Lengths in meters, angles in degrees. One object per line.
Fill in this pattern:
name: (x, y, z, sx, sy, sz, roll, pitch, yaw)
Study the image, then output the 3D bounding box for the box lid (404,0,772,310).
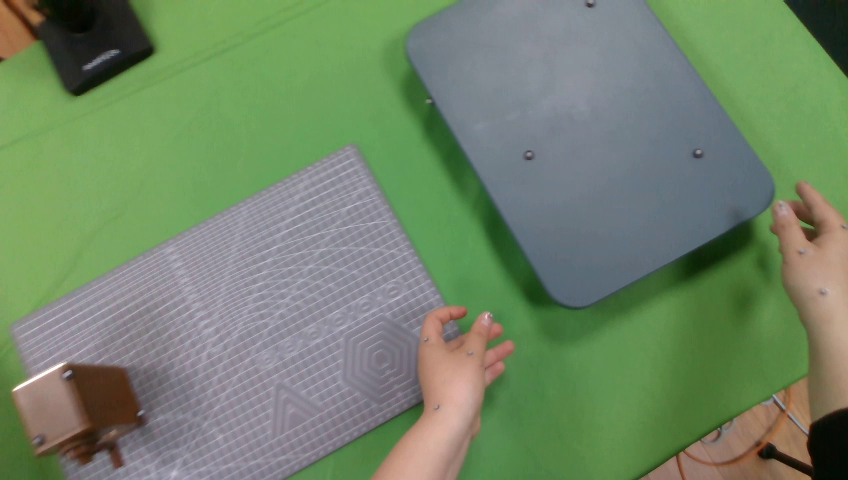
box lid: (0.166, -0.137, 0.653, 0.263, 0.015, 0.369, -29, 77, -3)

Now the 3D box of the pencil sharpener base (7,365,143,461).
pencil sharpener base: (-0.345, 0.174, 0.609, 0.061, 0.107, 0.076, -28, 77, -3)

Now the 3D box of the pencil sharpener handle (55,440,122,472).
pencil sharpener handle: (-0.320, 0.213, 0.586, 0.036, 0.068, 0.030, -30, 77, 4)
